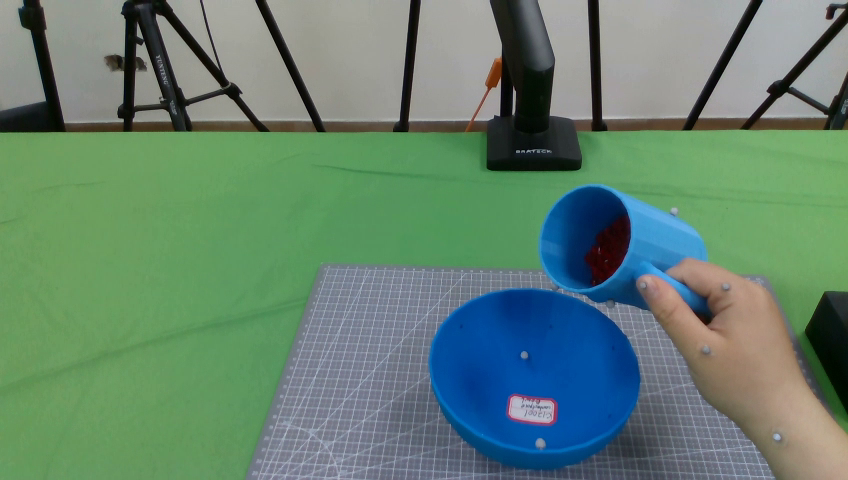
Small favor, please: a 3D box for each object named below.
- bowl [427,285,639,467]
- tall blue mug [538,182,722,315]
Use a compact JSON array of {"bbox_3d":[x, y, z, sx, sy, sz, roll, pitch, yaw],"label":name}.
[{"bbox_3d":[0.079,0.113,0.459,0.151,0.077,0.150,-2,39,2],"label":"bowl"},{"bbox_3d":[0.157,0.009,0.435,0.109,0.077,0.106,15,-7,-41],"label":"tall blue mug"}]
